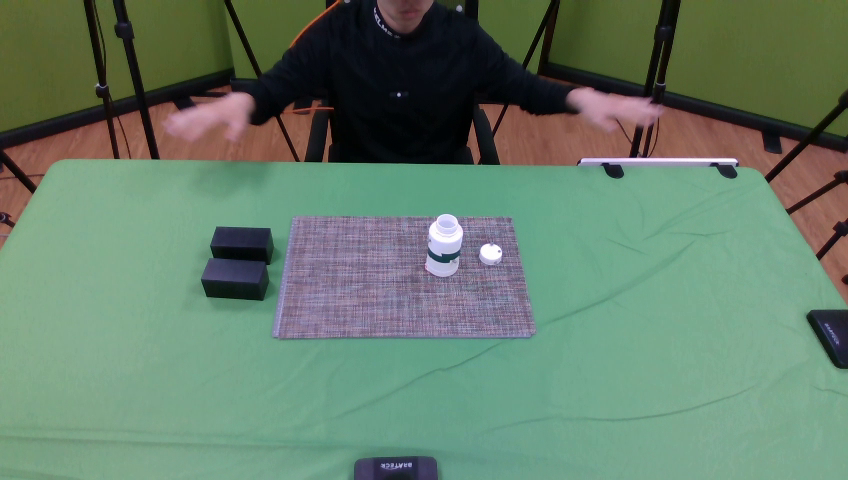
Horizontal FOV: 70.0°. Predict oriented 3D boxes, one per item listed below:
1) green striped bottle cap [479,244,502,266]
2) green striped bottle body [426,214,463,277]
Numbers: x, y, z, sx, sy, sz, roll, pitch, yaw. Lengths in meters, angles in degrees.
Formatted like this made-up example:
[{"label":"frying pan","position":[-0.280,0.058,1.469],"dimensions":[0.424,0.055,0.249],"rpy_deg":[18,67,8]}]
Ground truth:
[{"label":"green striped bottle cap","position":[0.130,0.029,1.181],"dimensions":[0.044,0.020,0.044],"rpy_deg":[0,46,0]},{"label":"green striped bottle body","position":[0.037,0.007,1.121],"dimensions":[0.063,0.120,0.063],"rpy_deg":[2,46,-2]}]
